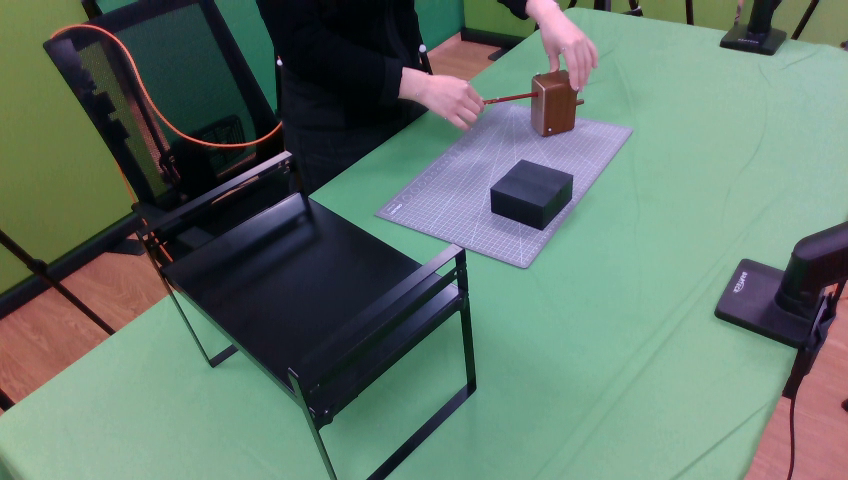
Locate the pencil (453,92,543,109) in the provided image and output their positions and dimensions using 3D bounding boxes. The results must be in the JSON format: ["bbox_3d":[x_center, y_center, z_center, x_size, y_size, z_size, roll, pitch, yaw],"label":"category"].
[{"bbox_3d":[0.150,-0.263,1.133,0.194,0.012,0.012,-8,41,0],"label":"pencil"}]

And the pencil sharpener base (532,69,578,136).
[{"bbox_3d":[0.256,-0.268,1.179,0.077,0.107,0.061,-15,41,-8],"label":"pencil sharpener base"}]

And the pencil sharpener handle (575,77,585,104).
[{"bbox_3d":[0.303,-0.293,1.181,0.031,0.068,0.035,-15,54,-8],"label":"pencil sharpener handle"}]
